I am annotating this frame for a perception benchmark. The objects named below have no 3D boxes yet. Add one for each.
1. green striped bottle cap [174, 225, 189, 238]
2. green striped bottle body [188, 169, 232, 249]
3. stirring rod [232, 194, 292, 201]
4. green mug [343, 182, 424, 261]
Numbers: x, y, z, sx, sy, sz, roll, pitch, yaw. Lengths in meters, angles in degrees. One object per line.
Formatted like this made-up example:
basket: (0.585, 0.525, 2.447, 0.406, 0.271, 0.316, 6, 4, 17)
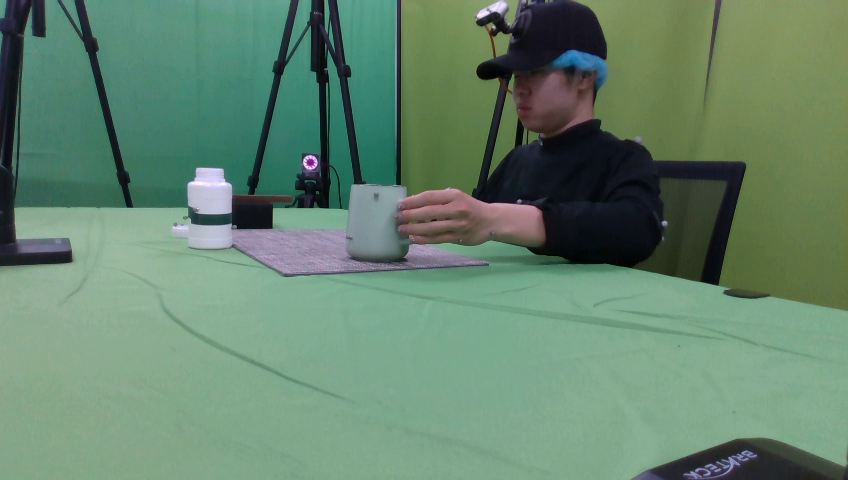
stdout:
green striped bottle cap: (-0.404, -0.015, 1.036, 0.044, 0.020, 0.044, -2, 8, 1)
green striped bottle body: (-0.324, -0.049, 0.919, 0.063, 0.119, 0.063, 2, 8, 0)
stirring rod: (-0.353, -0.086, 1.216, 0.177, 0.014, 0.006, -1, 12, -27)
green mug: (-0.053, -0.026, 0.849, 0.125, 0.105, 0.093, 7, 9, 33)
